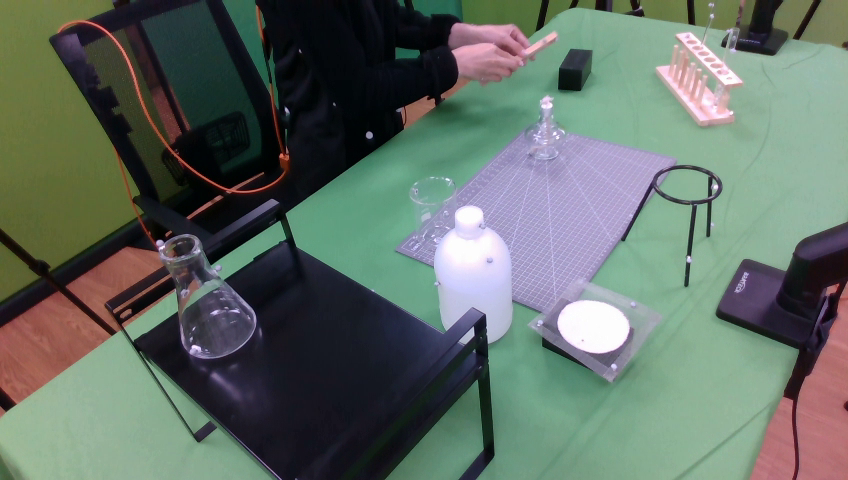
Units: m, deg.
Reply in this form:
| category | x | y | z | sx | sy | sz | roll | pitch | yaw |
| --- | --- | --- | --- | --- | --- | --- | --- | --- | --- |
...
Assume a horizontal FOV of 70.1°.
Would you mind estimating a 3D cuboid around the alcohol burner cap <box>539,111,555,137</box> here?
| category | x | y | z | sx | sy | sz | roll | pitch | yaw |
| --- | --- | --- | --- | --- | --- | --- | --- | --- | --- |
| alcohol burner cap | 0.243 | -0.232 | 1.197 | 0.034 | 0.048 | 0.033 | -4 | 40 | 4 |

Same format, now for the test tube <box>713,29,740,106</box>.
| category | x | y | z | sx | sy | sz | roll | pitch | yaw |
| --- | --- | --- | --- | --- | --- | --- | --- | --- | --- |
| test tube | 0.572 | -0.324 | 1.147 | 0.017 | 0.151 | 0.017 | -2 | 38 | 2 |

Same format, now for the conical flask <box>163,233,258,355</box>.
| category | x | y | z | sx | sy | sz | roll | pitch | yaw |
| --- | --- | --- | --- | --- | --- | --- | --- | --- | --- |
| conical flask | -0.217 | 0.051 | 0.601 | 0.075 | 0.122 | 0.075 | -4 | 40 | 4 |

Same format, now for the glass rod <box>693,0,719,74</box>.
| category | x | y | z | sx | sy | sz | roll | pitch | yaw |
| --- | --- | --- | --- | --- | --- | --- | --- | --- | --- |
| glass rod | 0.561 | -0.402 | 1.214 | 0.008 | 0.200 | 0.008 | -1 | 49 | 2 |

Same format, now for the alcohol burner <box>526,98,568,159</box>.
| category | x | y | z | sx | sy | sz | roll | pitch | yaw |
| --- | --- | --- | --- | --- | --- | --- | --- | --- | --- |
| alcohol burner | 0.228 | -0.210 | 1.118 | 0.078 | 0.119 | 0.077 | -5 | 43 | 5 |

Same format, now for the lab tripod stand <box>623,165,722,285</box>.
| category | x | y | z | sx | sy | sz | roll | pitch | yaw |
| --- | --- | --- | --- | --- | --- | --- | --- | --- | --- |
| lab tripod stand | 0.365 | -0.030 | 0.875 | 0.148 | 0.132 | 0.147 | -6 | 41 | 6 |

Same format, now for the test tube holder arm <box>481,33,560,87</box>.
| category | x | y | z | sx | sy | sz | roll | pitch | yaw |
| --- | --- | --- | --- | --- | --- | --- | --- | --- | --- |
| test tube holder arm | 0.196 | -0.367 | 1.235 | 0.178 | 0.013 | 0.015 | -31 | 65 | 9 |

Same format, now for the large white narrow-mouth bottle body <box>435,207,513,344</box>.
| category | x | y | z | sx | sy | sz | roll | pitch | yaw |
| --- | --- | --- | --- | --- | --- | --- | --- | --- | --- |
| large white narrow-mouth bottle body | 0.065 | 0.041 | 0.791 | 0.102 | 0.195 | 0.101 | -4 | 41 | 4 |

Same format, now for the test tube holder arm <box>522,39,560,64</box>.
| category | x | y | z | sx | sy | sz | roll | pitch | yaw |
| --- | --- | --- | --- | --- | --- | --- | --- | --- | --- |
| test tube holder arm | 0.236 | -0.389 | 1.233 | 0.088 | 0.010 | 0.015 | -31 | 65 | 9 |

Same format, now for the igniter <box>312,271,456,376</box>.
| category | x | y | z | sx | sy | sz | roll | pitch | yaw |
| --- | --- | --- | --- | --- | --- | --- | --- | --- | --- |
| igniter | -0.068 | 0.111 | 0.859 | 0.274 | 0.025 | 0.057 | 27 | 61 | 34 |

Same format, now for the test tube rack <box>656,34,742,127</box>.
| category | x | y | z | sx | sy | sz | roll | pitch | yaw |
| --- | --- | --- | --- | --- | --- | --- | --- | --- | --- |
| test tube rack | 0.553 | -0.331 | 1.233 | 0.067 | 0.085 | 0.241 | -7 | 40 | 2 |

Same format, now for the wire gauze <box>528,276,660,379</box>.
| category | x | y | z | sx | sy | sz | roll | pitch | yaw |
| --- | --- | --- | --- | --- | --- | --- | --- | --- | --- |
| wire gauze | 0.214 | 0.103 | 0.763 | 0.124 | 0.011 | 0.122 | 30 | 52 | 35 |

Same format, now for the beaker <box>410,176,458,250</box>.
| category | x | y | z | sx | sy | sz | roll | pitch | yaw |
| --- | --- | --- | --- | --- | --- | --- | --- | --- | --- |
| beaker | 0.022 | -0.041 | 0.964 | 0.073 | 0.101 | 0.084 | 28 | 51 | 35 |

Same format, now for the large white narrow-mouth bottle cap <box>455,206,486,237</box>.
| category | x | y | z | sx | sy | sz | roll | pitch | yaw |
| --- | --- | --- | --- | --- | --- | --- | --- | --- | --- |
| large white narrow-mouth bottle cap | 0.057 | -0.023 | 0.734 | 0.038 | 0.024 | 0.037 | -4 | 41 | 4 |
